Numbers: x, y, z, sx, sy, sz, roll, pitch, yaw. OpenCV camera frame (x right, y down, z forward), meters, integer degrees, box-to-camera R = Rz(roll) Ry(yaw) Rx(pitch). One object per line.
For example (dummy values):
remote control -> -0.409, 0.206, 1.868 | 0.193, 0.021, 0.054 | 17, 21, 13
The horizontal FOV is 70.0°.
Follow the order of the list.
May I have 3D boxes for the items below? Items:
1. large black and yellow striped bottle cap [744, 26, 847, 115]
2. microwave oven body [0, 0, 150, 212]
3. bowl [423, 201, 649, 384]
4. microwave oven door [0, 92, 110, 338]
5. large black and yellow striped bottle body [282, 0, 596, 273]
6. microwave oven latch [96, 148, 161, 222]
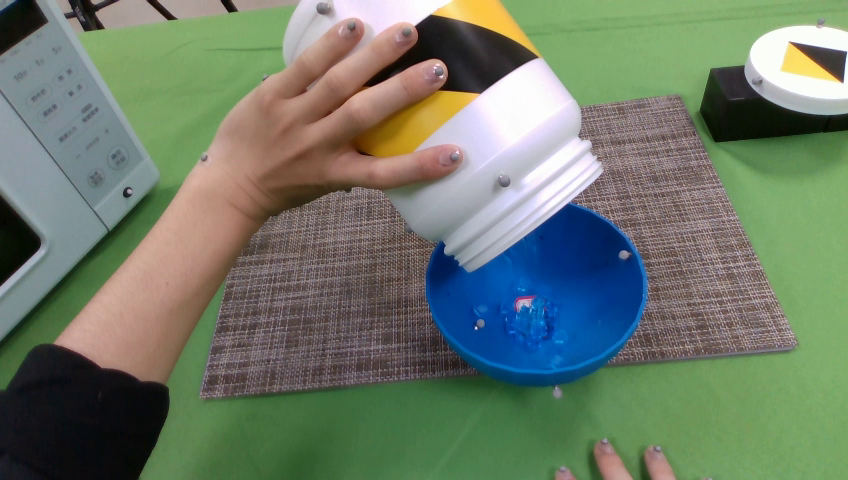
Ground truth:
large black and yellow striped bottle cap -> 0.355, -0.156, 0.550 | 0.115, 0.019, 0.114 | -5, 49, 6
microwave oven body -> -0.515, -0.030, 0.475 | 0.324, 0.263, 0.439 | 17, 56, 21
bowl -> 0.078, 0.047, 0.442 | 0.151, 0.077, 0.150 | -4, 50, 6
microwave oven door -> -0.403, 0.036, 0.397 | 0.039, 0.246, 0.354 | 17, 55, 21
large black and yellow striped bottle body -> 0.013, -0.083, 0.387 | 0.131, 0.131, 0.184 | -35, 90, -19
microwave oven latch -> -0.293, -0.056, 0.592 | 0.030, 0.030, 0.079 | 19, 56, 22
